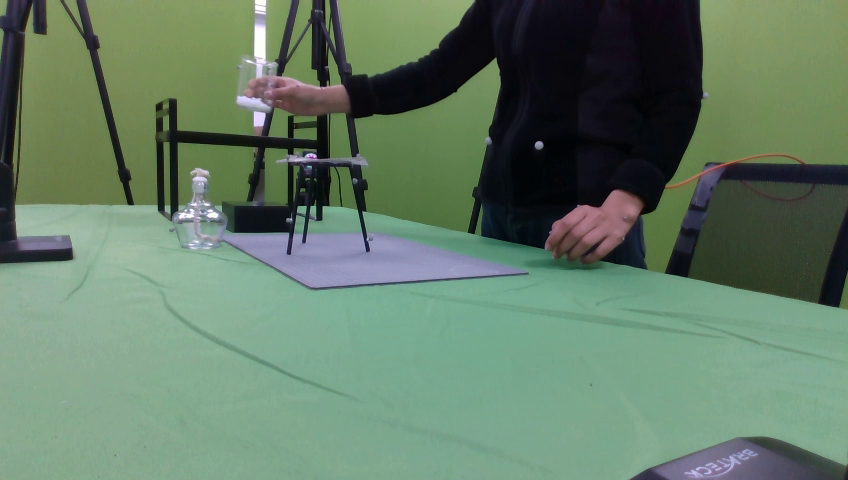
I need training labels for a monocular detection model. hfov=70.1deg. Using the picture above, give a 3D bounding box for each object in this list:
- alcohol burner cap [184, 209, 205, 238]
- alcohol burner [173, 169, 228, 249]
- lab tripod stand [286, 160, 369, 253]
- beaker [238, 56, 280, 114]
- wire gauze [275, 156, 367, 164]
[{"bbox_3d":[-0.389,-0.029,1.025,0.034,0.048,0.034,1,8,0],"label":"alcohol burner cap"},{"bbox_3d":[-0.333,-0.047,0.903,0.078,0.119,0.078,2,6,0],"label":"alcohol burner"},{"bbox_3d":[-0.157,-0.053,0.901,0.148,0.131,0.148,0,7,0],"label":"lab tripod stand"},{"bbox_3d":[-0.331,-0.309,1.214,0.083,0.100,0.074,13,7,37],"label":"beaker"},{"bbox_3d":[-0.148,-0.119,0.895,0.121,0.011,0.125,1,7,-3],"label":"wire gauze"}]
